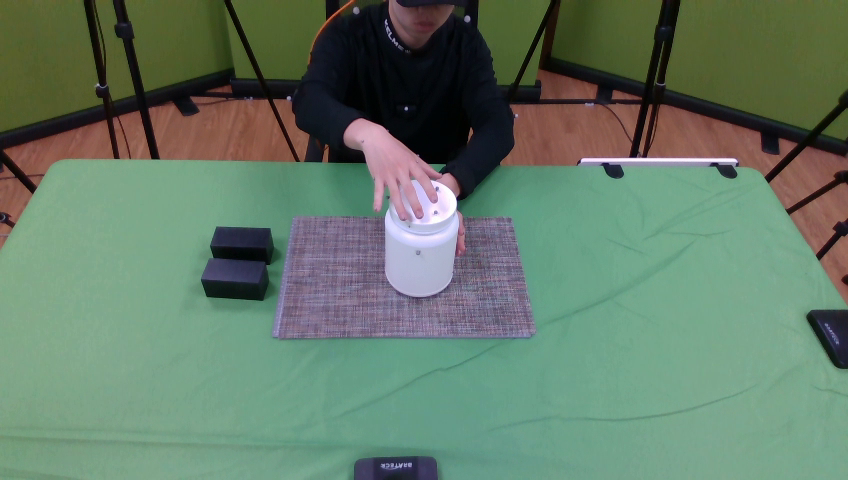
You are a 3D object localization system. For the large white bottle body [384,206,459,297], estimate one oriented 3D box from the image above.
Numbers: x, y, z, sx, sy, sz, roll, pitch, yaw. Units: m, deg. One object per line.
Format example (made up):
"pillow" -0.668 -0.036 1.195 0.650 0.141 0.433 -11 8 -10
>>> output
"large white bottle body" -0.006 -0.002 1.082 0.131 0.185 0.130 2 46 -2

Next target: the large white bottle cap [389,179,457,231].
"large white bottle cap" -0.003 -0.060 1.020 0.115 0.018 0.114 2 46 -1
